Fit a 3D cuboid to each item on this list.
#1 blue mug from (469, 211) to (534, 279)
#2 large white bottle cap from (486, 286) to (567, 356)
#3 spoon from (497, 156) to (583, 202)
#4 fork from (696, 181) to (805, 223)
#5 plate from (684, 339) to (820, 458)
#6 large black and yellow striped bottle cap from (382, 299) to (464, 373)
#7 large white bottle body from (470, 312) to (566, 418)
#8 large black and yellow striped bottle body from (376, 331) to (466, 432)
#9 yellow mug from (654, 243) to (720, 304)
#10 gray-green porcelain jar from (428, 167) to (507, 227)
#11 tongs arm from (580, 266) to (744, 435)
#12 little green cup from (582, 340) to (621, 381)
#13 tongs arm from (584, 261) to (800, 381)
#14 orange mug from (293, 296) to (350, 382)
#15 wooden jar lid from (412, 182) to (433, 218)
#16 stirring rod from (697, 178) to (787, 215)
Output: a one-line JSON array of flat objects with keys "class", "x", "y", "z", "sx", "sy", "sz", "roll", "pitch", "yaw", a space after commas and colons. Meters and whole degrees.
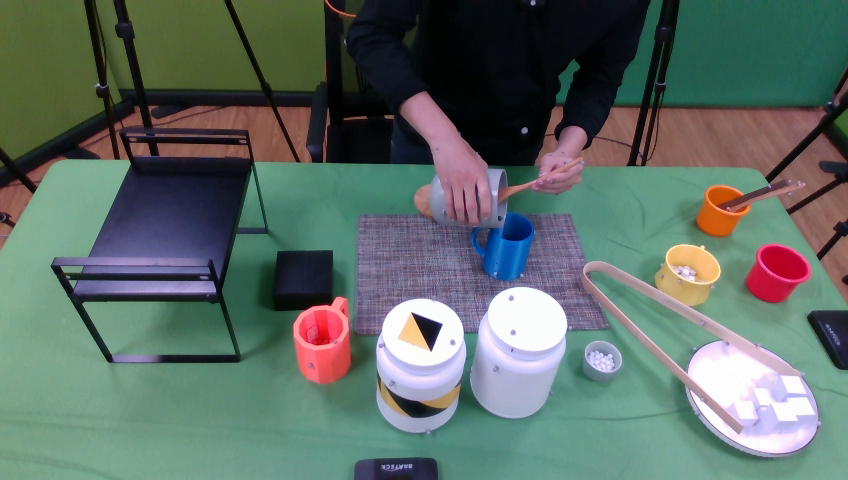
[{"class": "blue mug", "x": 0.140, "y": 0.005, "z": 1.140, "sx": 0.116, "sy": 0.106, "sz": 0.082, "roll": 18, "pitch": 48, "yaw": 13}, {"class": "large white bottle cap", "x": 0.147, "y": 0.114, "z": 0.869, "sx": 0.115, "sy": 0.018, "sz": 0.114, "roll": 3, "pitch": 46, "yaw": -3}, {"class": "spoon", "x": 0.184, "y": -0.102, "z": 1.054, "sx": 0.194, "sy": 0.022, "sz": 0.041, "roll": -22, "pitch": 37, "yaw": 14}, {"class": "fork", "x": 0.659, "y": -0.077, "z": 1.232, "sx": 0.207, "sy": 0.019, "sz": 0.028, "roll": -26, "pitch": 35, "yaw": 34}, {"class": "plate", "x": 0.523, "y": 0.256, "z": 0.982, "sx": 0.208, "sy": 0.039, "sz": 0.206, "roll": 2, "pitch": 46, "yaw": -2}, {"class": "large black and yellow striped bottle cap", "x": -0.002, "y": 0.132, "z": 0.843, "sx": 0.115, "sy": 0.019, "sz": 0.114, "roll": 2, "pitch": 46, "yaw": -2}, {"class": "large white bottle body", "x": 0.143, "y": 0.174, "z": 0.930, "sx": 0.131, "sy": 0.185, "sz": 0.130, "roll": 2, "pitch": 46, "yaw": -2}, {"class": "large black and yellow striped bottle body", "x": -0.007, "y": 0.189, "z": 0.905, "sx": 0.131, "sy": 0.185, "sz": 0.130, "roll": 2, "pitch": 46, "yaw": -2}, {"class": "yellow mug", "x": 0.504, "y": 0.054, "z": 1.154, "sx": 0.099, "sy": 0.064, "sz": 0.130, "roll": 28, "pitch": 50, "yaw": 22}, {"class": "gray-green porcelain jar", "x": 0.078, "y": -0.078, "z": 1.082, "sx": 0.126, "sy": 0.106, "sz": 0.105, "roll": 4, "pitch": 45, "yaw": 17}, {"class": "tongs arm", "x": 0.384, "y": 0.173, "z": 1.028, "sx": 0.028, "sy": 0.028, "sz": 0.385, "roll": -25, "pitch": 46, "yaw": -15}, {"class": "little green cup", "x": 0.295, "y": 0.204, "z": 1.014, "sx": 0.061, "sy": 0.039, "sz": 0.061, "roll": 2, "pitch": 45, "yaw": -2}, {"class": "tongs arm", "x": 0.452, "y": 0.137, "z": 1.064, "sx": 0.051, "sy": 0.027, "sz": 0.382, "roll": -34, "pitch": 50, "yaw": -27}, {"class": "orange mug", "x": -0.158, "y": 0.154, "z": 0.985, "sx": 0.083, "sy": 0.101, "sz": 0.125, "roll": 17, "pitch": 52, "yaw": 11}, {"class": "wooden jar lid", "x": 0.029, "y": -0.083, "z": 1.276, "sx": 0.108, "sy": 0.021, "sz": 0.107, "roll": 3, "pitch": 43, "yaw": -3}, {"class": "stirring rod", "x": 0.650, "y": -0.088, "z": 1.245, "sx": 0.006, "sy": 0.176, "sz": 0.014, "roll": 29, "pitch": 49, "yaw": -39}]
